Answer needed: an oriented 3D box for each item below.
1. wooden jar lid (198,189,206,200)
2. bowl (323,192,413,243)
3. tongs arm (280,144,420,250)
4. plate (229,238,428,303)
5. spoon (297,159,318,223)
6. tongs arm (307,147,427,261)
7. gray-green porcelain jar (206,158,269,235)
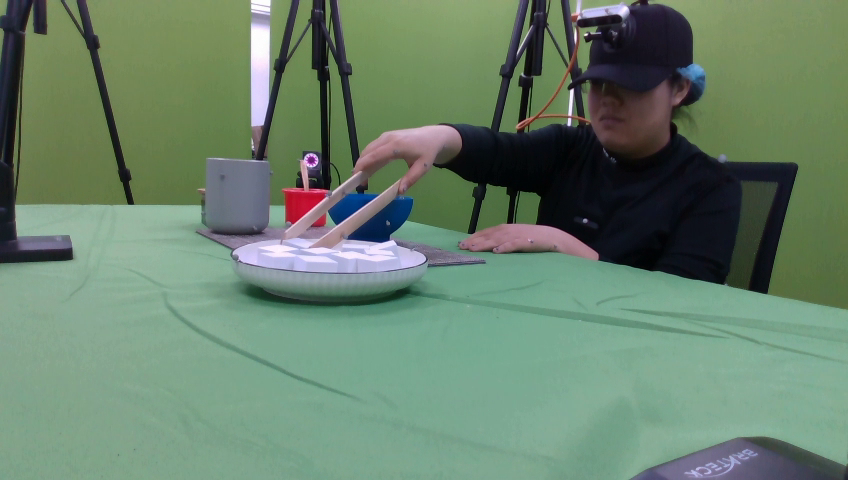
[{"bbox_3d":[-0.382,-0.088,1.175,0.108,0.020,0.108,3,8,0],"label":"wooden jar lid"},{"bbox_3d":[-0.094,-0.037,1.015,0.151,0.077,0.151,3,7,0],"label":"bowl"},{"bbox_3d":[-0.085,-0.071,0.834,0.051,0.026,0.385,19,29,8],"label":"tongs arm"},{"bbox_3d":[-0.099,0.032,0.651,0.209,0.038,0.209,3,8,0],"label":"plate"},{"bbox_3d":[-0.244,-0.103,1.251,0.042,0.021,0.193,1,51,-17],"label":"spoon"},{"bbox_3d":[-0.063,-0.062,0.829,0.028,0.028,0.388,18,28,13],"label":"tongs arm"},{"bbox_3d":[-0.323,-0.076,1.048,0.106,0.126,0.106,3,7,0],"label":"gray-green porcelain jar"}]
